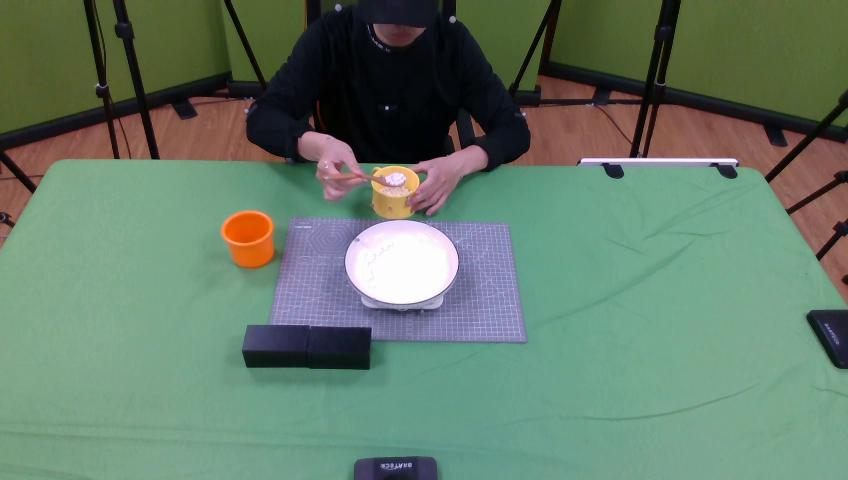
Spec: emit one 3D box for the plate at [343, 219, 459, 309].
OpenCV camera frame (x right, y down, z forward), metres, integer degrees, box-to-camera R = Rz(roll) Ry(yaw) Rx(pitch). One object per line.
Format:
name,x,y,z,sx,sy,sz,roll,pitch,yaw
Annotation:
plate,-0.041,0.046,1.094,0.209,0.038,0.208,2,46,-2

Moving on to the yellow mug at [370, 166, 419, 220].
yellow mug,-0.072,-0.107,1.267,0.100,0.064,0.130,-29,53,-30

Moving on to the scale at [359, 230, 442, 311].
scale,-0.042,0.047,1.138,0.149,0.032,0.199,2,46,-3

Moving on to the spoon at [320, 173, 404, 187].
spoon,-0.113,-0.116,1.130,0.194,0.022,0.041,1,32,-46
